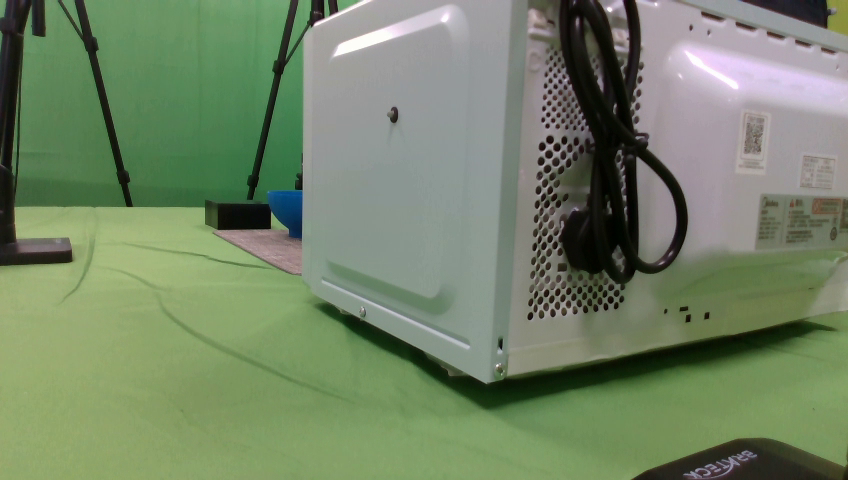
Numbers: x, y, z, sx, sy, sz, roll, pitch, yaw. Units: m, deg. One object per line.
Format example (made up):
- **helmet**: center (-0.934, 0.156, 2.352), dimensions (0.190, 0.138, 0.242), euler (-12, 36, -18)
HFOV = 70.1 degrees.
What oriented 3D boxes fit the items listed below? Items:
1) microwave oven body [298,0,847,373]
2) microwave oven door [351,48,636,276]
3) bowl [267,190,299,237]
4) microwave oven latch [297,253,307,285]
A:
- **microwave oven body**: center (0.151, -0.055, 0.543), dimensions (0.444, 0.260, 0.324), euler (-1, 7, -33)
- **microwave oven door**: center (0.094, -0.084, 0.717), dimensions (0.357, 0.243, 0.039), euler (-1, 8, -21)
- **bowl**: center (-0.202, -0.046, 1.070), dimensions (0.151, 0.077, 0.151), euler (3, 7, 0)
- **microwave oven latch**: center (-0.082, 0.027, 0.582), dimensions (0.079, 0.029, 0.030), euler (-1, 7, -32)
